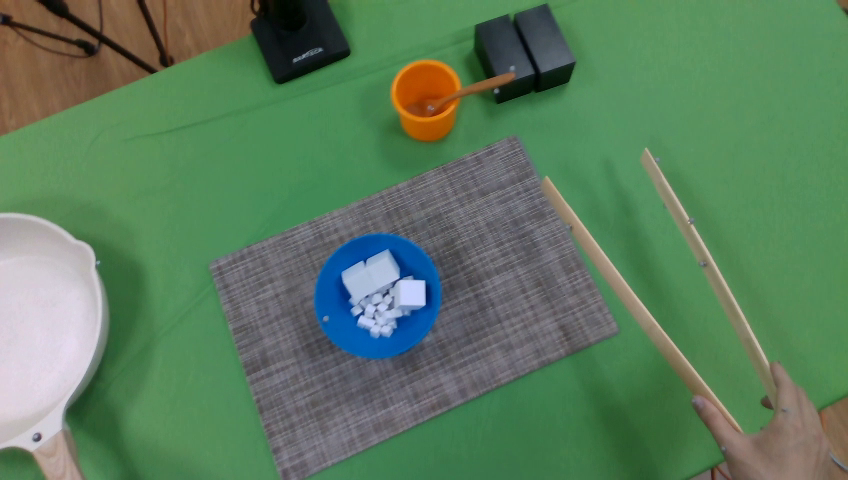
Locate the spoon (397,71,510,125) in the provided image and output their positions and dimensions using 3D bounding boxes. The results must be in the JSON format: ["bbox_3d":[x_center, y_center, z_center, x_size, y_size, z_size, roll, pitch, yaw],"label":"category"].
[{"bbox_3d":[0.033,-0.185,0.782,0.022,0.193,0.041,27,67,-35],"label":"spoon"}]

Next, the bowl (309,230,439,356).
[{"bbox_3d":[-0.056,0.071,0.741,0.151,0.077,0.150,0,74,2],"label":"bowl"}]

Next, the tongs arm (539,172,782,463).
[{"bbox_3d":[0.238,0.070,0.665,0.028,0.028,0.384,-22,64,-21],"label":"tongs arm"}]

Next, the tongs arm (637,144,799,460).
[{"bbox_3d":[0.311,0.049,0.682,0.051,0.027,0.381,-12,62,-13],"label":"tongs arm"}]

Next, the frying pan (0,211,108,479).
[{"bbox_3d":[-0.467,0.183,0.711,0.307,0.103,0.484,-38,68,-8],"label":"frying pan"}]
